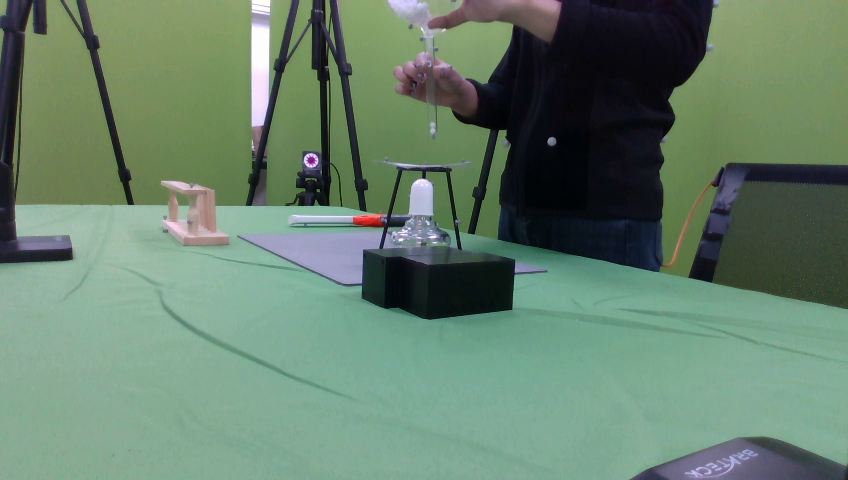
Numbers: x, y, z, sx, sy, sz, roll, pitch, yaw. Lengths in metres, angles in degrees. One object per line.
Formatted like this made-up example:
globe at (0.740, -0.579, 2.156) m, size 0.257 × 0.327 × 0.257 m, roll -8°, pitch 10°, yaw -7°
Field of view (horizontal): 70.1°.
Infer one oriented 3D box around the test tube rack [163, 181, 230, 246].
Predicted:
test tube rack at (-0.387, -0.050, 1.015) m, size 0.067 × 0.085 × 0.241 m, roll -2°, pitch 9°, yaw -30°

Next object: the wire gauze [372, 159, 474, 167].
wire gauze at (-0.004, -0.122, 0.958) m, size 0.122 × 0.011 × 0.124 m, roll -4°, pitch 9°, yaw -33°

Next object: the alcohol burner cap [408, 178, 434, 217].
alcohol burner cap at (-0.003, -0.053, 0.746) m, size 0.034 × 0.048 × 0.034 m, roll 3°, pitch 3°, yaw 0°

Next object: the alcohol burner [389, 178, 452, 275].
alcohol burner at (-0.004, -0.017, 0.749) m, size 0.078 × 0.119 × 0.078 m, roll 1°, pitch 9°, yaw 0°

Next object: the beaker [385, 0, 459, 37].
beaker at (-0.005, -0.337, 0.851) m, size 0.074 × 0.084 × 0.100 m, roll 21°, pitch 15°, yaw 23°

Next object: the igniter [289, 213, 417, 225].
igniter at (-0.144, -0.044, 1.275) m, size 0.278 × 0.025 × 0.057 m, roll -1°, pitch -2°, yaw -28°

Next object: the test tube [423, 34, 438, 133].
test tube at (0.011, -0.239, 0.931) m, size 0.017 × 0.150 × 0.017 m, roll -3°, pitch 25°, yaw 2°

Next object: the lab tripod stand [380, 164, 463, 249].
lab tripod stand at (-0.003, -0.055, 0.967) m, size 0.148 × 0.131 × 0.148 m, roll 2°, pitch 9°, yaw 0°
